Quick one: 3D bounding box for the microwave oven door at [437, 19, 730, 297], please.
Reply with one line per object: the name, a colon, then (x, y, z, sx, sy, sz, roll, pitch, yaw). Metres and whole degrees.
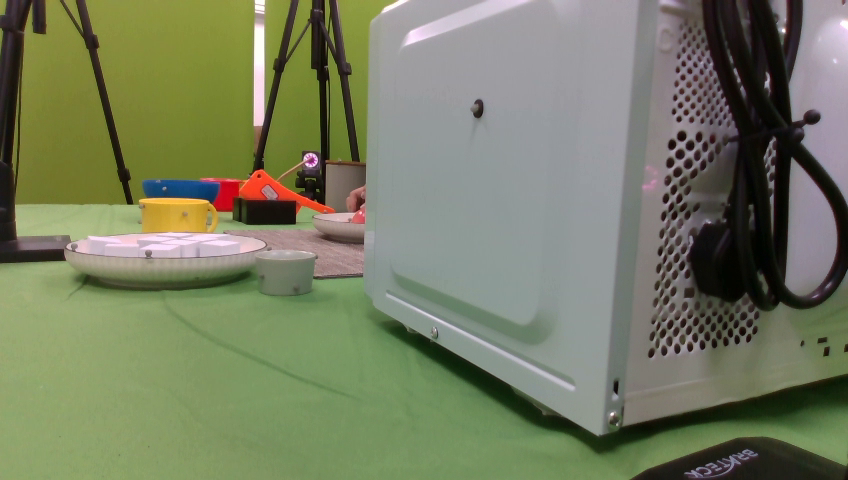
microwave oven door: (0.181, -0.076, 0.618, 0.358, 0.243, 0.039, -2, 9, -28)

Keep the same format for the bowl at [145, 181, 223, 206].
bowl: (-0.499, -0.081, 1.261, 0.151, 0.077, 0.151, 2, 8, 0)

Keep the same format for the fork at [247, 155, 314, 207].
fork: (-0.360, -0.147, 1.522, 0.207, 0.018, 0.028, -43, 7, -7)

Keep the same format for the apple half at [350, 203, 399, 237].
apple half: (-0.081, -0.035, 1.024, 0.081, 0.053, 0.074, -2, 12, -33)

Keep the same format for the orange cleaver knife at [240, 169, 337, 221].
orange cleaver knife: (-0.287, -0.082, 1.299, 0.212, 0.077, 0.012, 25, -2, -31)

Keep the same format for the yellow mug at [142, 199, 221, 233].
yellow mug: (-0.372, -0.030, 0.948, 0.099, 0.064, 0.131, 6, 7, 30)

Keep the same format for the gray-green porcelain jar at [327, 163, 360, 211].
gray-green porcelain jar: (-0.187, -0.125, 1.490, 0.106, 0.126, 0.106, 2, 8, 0)

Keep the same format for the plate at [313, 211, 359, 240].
plate: (-0.091, -0.026, 1.063, 0.209, 0.038, 0.209, 2, 7, 0)

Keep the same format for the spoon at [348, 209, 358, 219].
spoon: (-0.123, -0.047, 1.117, 0.041, 0.021, 0.194, -8, 17, 19)

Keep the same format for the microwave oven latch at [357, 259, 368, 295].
microwave oven latch: (-0.019, 0.031, 0.529, 0.079, 0.029, 0.030, -1, 7, -26)

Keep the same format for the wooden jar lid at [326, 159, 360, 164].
wooden jar lid: (-0.185, -0.187, 1.481, 0.108, 0.020, 0.108, 4, 6, 0)

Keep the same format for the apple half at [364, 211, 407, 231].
apple half: (-0.068, -0.037, 1.103, 0.081, 0.033, 0.081, -1, 9, 0)

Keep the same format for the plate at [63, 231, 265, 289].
plate: (-0.288, 0.021, 0.687, 0.208, 0.039, 0.207, 2, 8, 0)

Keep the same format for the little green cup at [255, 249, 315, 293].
little green cup: (-0.144, 0.032, 0.627, 0.061, 0.038, 0.061, 2, 6, 0)

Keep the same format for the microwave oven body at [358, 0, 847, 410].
microwave oven body: (0.210, -0.051, 0.471, 0.444, 0.260, 0.324, -1, 7, -28)
